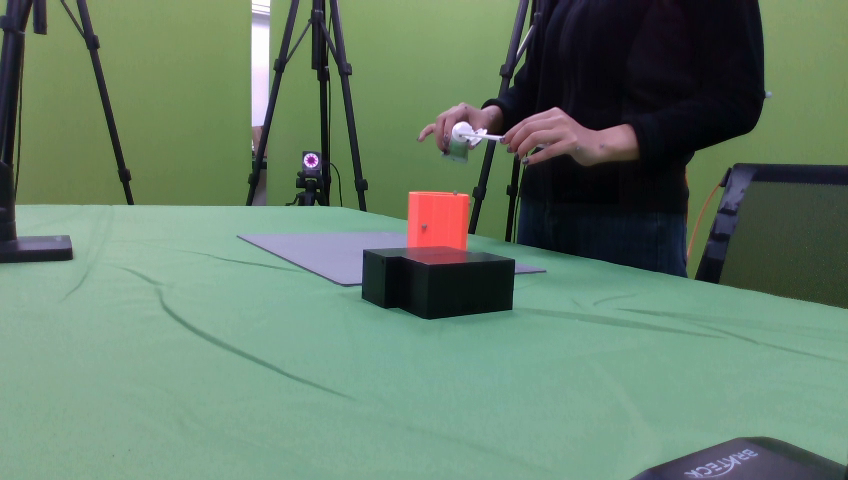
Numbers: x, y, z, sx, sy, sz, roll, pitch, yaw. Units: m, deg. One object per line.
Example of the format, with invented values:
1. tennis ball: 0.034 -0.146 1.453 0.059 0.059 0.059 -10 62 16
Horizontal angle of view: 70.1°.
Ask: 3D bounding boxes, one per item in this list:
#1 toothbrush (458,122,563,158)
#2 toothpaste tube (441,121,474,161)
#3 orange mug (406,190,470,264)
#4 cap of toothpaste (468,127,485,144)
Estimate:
1. toothbrush: 0.129 -0.154 0.930 0.181 0.014 0.017 23 25 30
2. toothpaste tube: 0.064 -0.173 1.077 0.055 0.034 0.165 20 -10 -1
3. orange mug: 0.027 -0.023 0.866 0.083 0.101 0.126 6 12 24
4. cap of toothpaste: 0.085 -0.173 0.990 0.011 0.037 0.037 46 -7 -17
